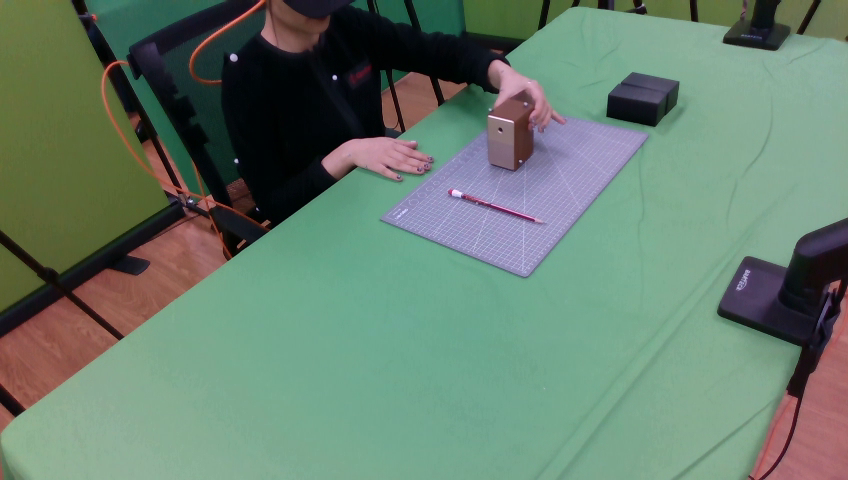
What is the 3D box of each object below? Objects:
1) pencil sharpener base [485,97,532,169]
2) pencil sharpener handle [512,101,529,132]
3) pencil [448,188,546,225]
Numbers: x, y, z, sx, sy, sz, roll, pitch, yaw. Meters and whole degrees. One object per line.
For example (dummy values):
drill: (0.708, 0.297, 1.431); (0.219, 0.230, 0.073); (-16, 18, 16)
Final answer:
pencil sharpener base: (0.158, -0.198, 1.113); (0.061, 0.107, 0.077); (21, 47, 31)
pencil sharpener handle: (0.185, -0.237, 1.137); (0.036, 0.068, 0.031); (30, 51, 21)
pencil: (0.122, -0.057, 1.033); (0.192, 0.012, 0.012); (22, 50, 29)
